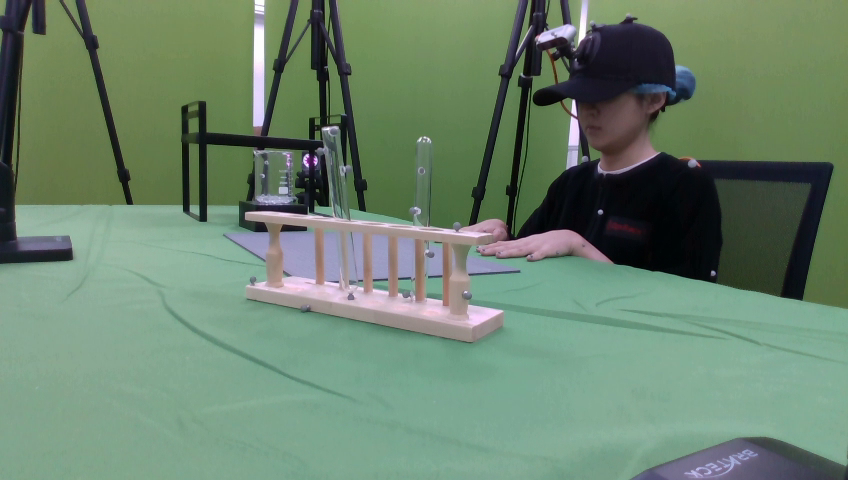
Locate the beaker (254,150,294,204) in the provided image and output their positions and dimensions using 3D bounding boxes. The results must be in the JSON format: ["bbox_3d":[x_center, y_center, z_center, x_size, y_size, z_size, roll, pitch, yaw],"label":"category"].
[{"bbox_3d":[-0.289,-0.120,1.151,0.073,0.100,0.084,8,9,33],"label":"beaker"}]

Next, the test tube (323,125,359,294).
[{"bbox_3d":[-0.073,-0.026,0.533,0.017,0.150,0.017,-5,9,1],"label":"test tube"}]

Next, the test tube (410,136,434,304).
[{"bbox_3d":[-0.001,-0.016,0.537,0.017,0.150,0.017,2,7,0],"label":"test tube"}]

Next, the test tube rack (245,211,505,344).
[{"bbox_3d":[-0.049,0.025,0.547,0.241,0.085,0.067,7,8,29],"label":"test tube rack"}]
